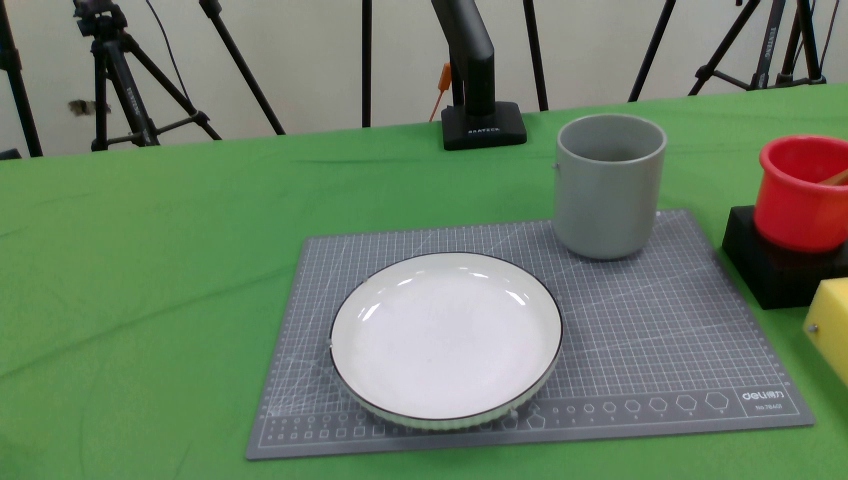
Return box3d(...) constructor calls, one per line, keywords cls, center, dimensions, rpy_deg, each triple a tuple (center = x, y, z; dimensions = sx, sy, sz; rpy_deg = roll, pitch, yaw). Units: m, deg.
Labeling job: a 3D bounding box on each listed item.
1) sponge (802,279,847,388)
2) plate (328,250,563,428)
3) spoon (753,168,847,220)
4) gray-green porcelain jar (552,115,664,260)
box3d(cls="sponge", center=(0.401, 0.111, 0.446), dimensions=(0.118, 0.061, 0.204), rpy_deg=(-7, 36, -1))
box3d(cls="plate", center=(0.020, 0.087, 0.551), dimensions=(0.207, 0.039, 0.205), rpy_deg=(-4, 37, 4))
box3d(cls="spoon", center=(0.385, -0.063, 0.525), dimensions=(0.194, 0.022, 0.041), rpy_deg=(-35, 15, 44))
box3d(cls="gray-green porcelain jar", center=(0.188, -0.051, 0.633), dimensions=(0.106, 0.127, 0.105), rpy_deg=(-4, 37, 4))
